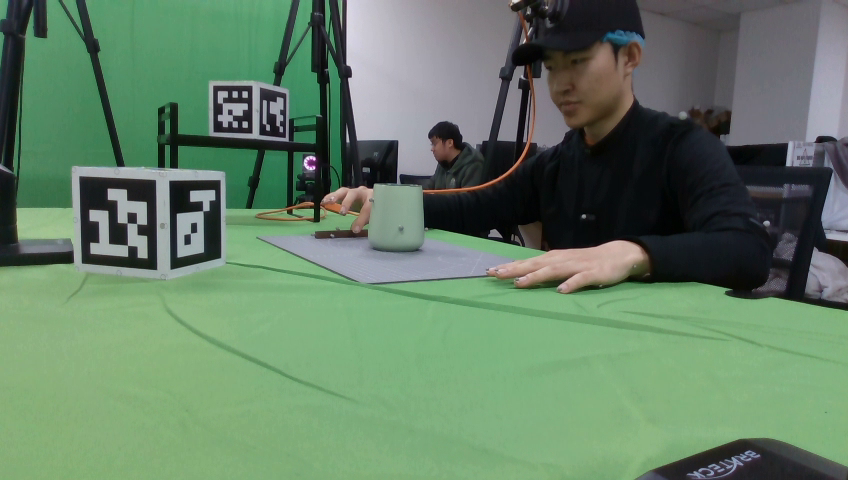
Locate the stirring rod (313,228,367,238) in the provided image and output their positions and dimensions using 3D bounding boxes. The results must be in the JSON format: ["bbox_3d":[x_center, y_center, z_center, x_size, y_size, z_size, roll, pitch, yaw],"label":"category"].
[{"bbox_3d":[-0.123,-0.014,1.114,0.177,0.014,0.006,-3,4,-35],"label":"stirring rod"}]

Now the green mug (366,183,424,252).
[{"bbox_3d":[-0.054,-0.039,0.989,0.093,0.105,0.124,-1,8,-29],"label":"green mug"}]
